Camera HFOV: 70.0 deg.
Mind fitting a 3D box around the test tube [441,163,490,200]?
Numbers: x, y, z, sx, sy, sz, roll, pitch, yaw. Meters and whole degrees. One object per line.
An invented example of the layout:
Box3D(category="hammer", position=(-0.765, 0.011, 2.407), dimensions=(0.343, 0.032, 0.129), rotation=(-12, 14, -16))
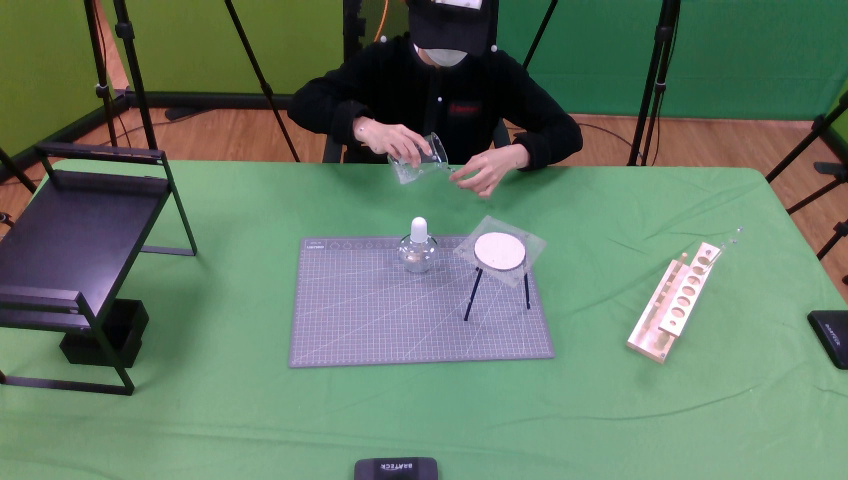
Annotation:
Box3D(category="test tube", position=(0.087, -0.117, 1.234), dimensions=(0.151, 0.017, 0.017), rotation=(29, 29, -41))

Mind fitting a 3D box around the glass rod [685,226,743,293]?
Box3D(category="glass rod", position=(0.500, 0.040, 1.054), dimensions=(0.008, 0.200, 0.008), rotation=(4, 53, -5))

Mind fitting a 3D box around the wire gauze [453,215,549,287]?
Box3D(category="wire gauze", position=(0.129, 0.012, 1.017), dimensions=(0.124, 0.011, 0.121), rotation=(28, 50, 23))

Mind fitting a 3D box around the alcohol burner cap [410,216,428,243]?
Box3D(category="alcohol burner cap", position=(-0.009, -0.022, 1.099), dimensions=(0.034, 0.048, 0.033), rotation=(2, 41, -1))

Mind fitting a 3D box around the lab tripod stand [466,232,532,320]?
Box3D(category="lab tripod stand", position=(0.125, 0.059, 1.065), dimensions=(0.148, 0.132, 0.147), rotation=(1, 45, 0))

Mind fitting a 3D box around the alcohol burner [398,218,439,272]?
Box3D(category="alcohol burner", position=(-0.010, 0.004, 1.123), dimensions=(0.078, 0.120, 0.077), rotation=(1, 47, 0))

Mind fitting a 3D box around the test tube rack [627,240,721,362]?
Box3D(category="test tube rack", position=(0.452, 0.098, 1.087), dimensions=(0.066, 0.085, 0.242), rotation=(28, 51, 22))

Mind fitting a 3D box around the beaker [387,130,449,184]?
Box3D(category="beaker", position=(-0.012, -0.153, 1.155), dimensions=(0.100, 0.084, 0.073), rotation=(-24, 40, -7))
